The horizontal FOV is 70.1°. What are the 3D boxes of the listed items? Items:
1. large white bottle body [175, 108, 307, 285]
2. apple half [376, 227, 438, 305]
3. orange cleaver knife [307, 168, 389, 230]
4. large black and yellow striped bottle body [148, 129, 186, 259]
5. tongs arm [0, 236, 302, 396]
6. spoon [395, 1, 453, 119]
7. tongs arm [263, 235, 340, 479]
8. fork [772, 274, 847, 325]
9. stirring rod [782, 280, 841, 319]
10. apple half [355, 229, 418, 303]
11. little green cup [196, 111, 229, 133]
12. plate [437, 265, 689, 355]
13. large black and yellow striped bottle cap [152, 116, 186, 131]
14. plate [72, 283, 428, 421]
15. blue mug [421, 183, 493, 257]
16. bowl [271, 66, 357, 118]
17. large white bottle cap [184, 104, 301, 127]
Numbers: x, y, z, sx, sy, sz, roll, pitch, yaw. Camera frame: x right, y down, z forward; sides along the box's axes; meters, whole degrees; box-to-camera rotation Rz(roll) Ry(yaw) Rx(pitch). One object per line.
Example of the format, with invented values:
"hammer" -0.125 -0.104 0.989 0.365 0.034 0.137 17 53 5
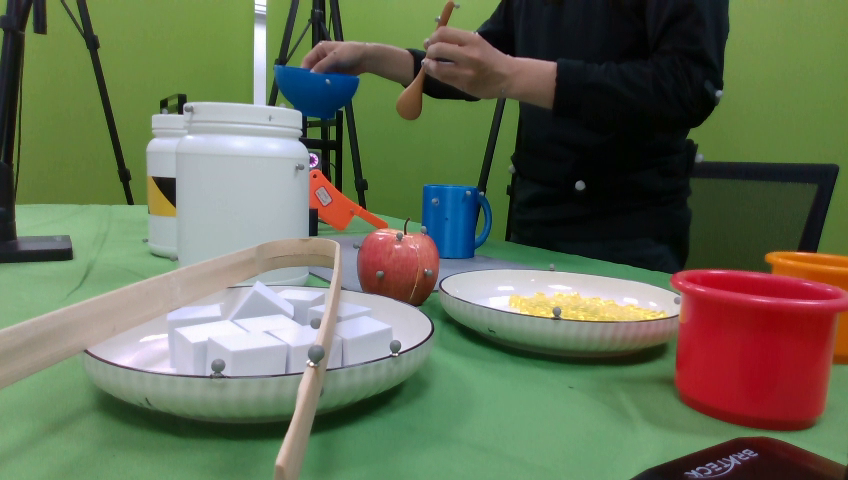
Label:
"large white bottle body" -0.188 -0.042 0.630 0.131 0.184 0.130 2 8 0
"apple half" -0.017 0.026 0.593 0.080 0.074 0.054 4 2 43
"orange cleaver knife" -0.158 -0.060 1.166 0.212 0.077 0.012 34 -12 -32
"large black and yellow striped bottle body" -0.310 -0.073 0.838 0.131 0.184 0.130 2 8 0
"tongs arm" -0.158 0.038 0.351 0.028 0.028 0.388 -3 8 12
"spoon" 0.001 -0.252 0.864 0.041 0.193 0.021 27 37 1
"tongs arm" -0.074 0.039 0.349 0.051 0.026 0.384 -2 10 -3
"fork" 0.332 0.018 0.443 0.028 0.018 0.207 -1 -36 -15
"stirring rod" 0.344 0.019 0.460 0.014 0.006 0.176 -13 -27 -30
"apple half" -0.043 0.027 0.564 0.081 0.081 0.033 9 5 42
"little green cup" -0.403 -0.225 1.154 0.061 0.038 0.061 3 8 0
"plate" 0.114 0.057 0.517 0.209 0.038 0.209 3 8 0
"large black and yellow striped bottle cap" -0.309 -0.155 0.826 0.115 0.019 0.115 3 6 0
"plate" -0.102 0.066 0.381 0.208 0.039 0.207 2 7 0
"blue mug" 0.052 -0.032 0.912 0.117 0.106 0.082 -1 8 -24
"bowl" -0.199 -0.264 1.088 0.151 0.077 0.151 7 16 -2
"large white bottle cap" -0.184 -0.126 0.618 0.115 0.018 0.115 2 8 0
